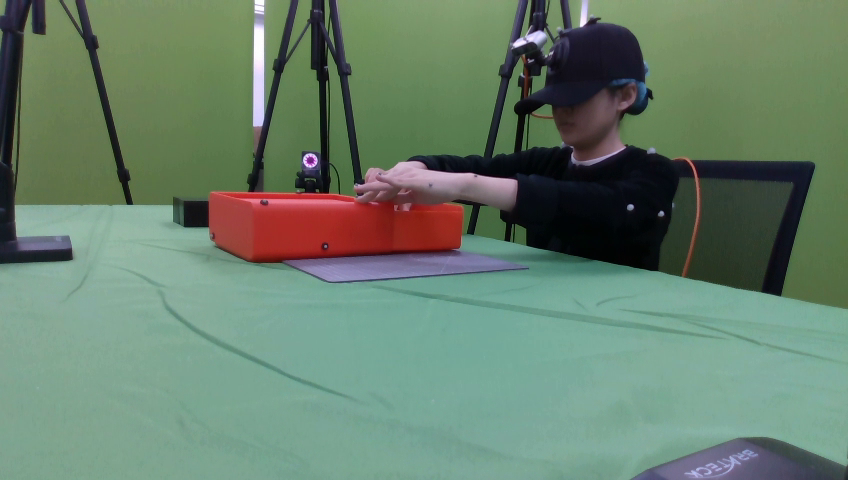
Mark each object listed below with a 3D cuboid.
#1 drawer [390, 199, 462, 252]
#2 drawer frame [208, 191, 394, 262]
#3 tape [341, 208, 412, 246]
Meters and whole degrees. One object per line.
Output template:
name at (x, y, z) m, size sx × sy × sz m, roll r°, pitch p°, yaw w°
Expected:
drawer at (-0.078, -0.027, 0.975) m, size 0.213 × 0.073 × 0.193 m, roll -2°, pitch 9°, yaw -35°
drawer frame at (-0.185, -0.026, 0.899) m, size 0.215 × 0.082 × 0.200 m, roll -3°, pitch 10°, yaw -35°
tape at (-0.079, -0.022, 0.983) m, size 0.117 × 0.052 × 0.117 m, roll 3°, pitch 6°, yaw 0°
